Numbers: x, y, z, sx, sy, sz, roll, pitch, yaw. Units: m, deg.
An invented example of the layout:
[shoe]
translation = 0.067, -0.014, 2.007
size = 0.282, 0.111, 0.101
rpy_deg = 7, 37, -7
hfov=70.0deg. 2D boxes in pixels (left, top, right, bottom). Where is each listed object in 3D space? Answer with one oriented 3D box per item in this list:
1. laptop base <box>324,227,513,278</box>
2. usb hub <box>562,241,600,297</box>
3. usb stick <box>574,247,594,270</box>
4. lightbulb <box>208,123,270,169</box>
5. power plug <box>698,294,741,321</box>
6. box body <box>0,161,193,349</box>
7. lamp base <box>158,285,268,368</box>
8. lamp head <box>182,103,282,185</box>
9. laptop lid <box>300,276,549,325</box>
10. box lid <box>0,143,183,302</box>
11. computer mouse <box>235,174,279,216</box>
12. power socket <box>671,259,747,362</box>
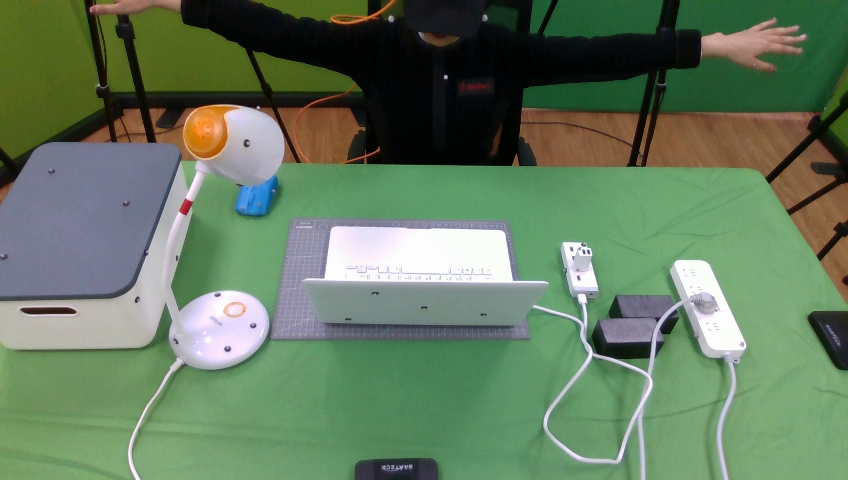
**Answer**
[laptop base]
translation = -0.009, 0.062, 1.137
size = 0.354, 0.023, 0.234
rpy_deg = 1, 42, -3
[usb hub]
translation = 0.300, 0.055, 1.162
size = 0.049, 0.025, 0.124
rpy_deg = 2, 46, -3
[usb stick]
translation = 0.298, 0.040, 1.135
size = 0.027, 0.059, 0.021
rpy_deg = 2, 46, -4
[lightbulb]
translation = -0.261, -0.136, 0.848
size = 0.059, 0.108, 0.059
rpy_deg = -4, 77, 21
[power plug]
translation = 0.515, 0.127, 1.070
size = 0.035, 0.053, 0.072
rpy_deg = -18, 56, -7
[box body]
translation = -0.570, 0.006, 1.054
size = 0.254, 0.161, 0.361
rpy_deg = -1, 46, -4
[lamp base]
translation = -0.348, 0.102, 0.963
size = 0.160, 0.181, 0.178
rpy_deg = 23, 51, 18
[lamp head]
translation = -0.271, -0.133, 0.825
size = 0.112, 0.112, 0.123
rpy_deg = 20, 8, 15
[laptop lid]
translation = -0.002, 0.100, 0.947
size = 0.357, 0.242, 0.013
rpy_deg = 1, 67, -4
[box lid]
translation = -0.567, -0.045, 0.999
size = 0.263, 0.015, 0.369
rpy_deg = -1, 46, -4
[computer mouse]
translation = -0.346, -0.099, 1.258
size = 0.063, 0.041, 0.116
rpy_deg = 8, 50, 2
[power socket]
translation = 0.516, 0.119, 1.108
size = 0.072, 0.033, 0.225
rpy_deg = 0, 46, -2
